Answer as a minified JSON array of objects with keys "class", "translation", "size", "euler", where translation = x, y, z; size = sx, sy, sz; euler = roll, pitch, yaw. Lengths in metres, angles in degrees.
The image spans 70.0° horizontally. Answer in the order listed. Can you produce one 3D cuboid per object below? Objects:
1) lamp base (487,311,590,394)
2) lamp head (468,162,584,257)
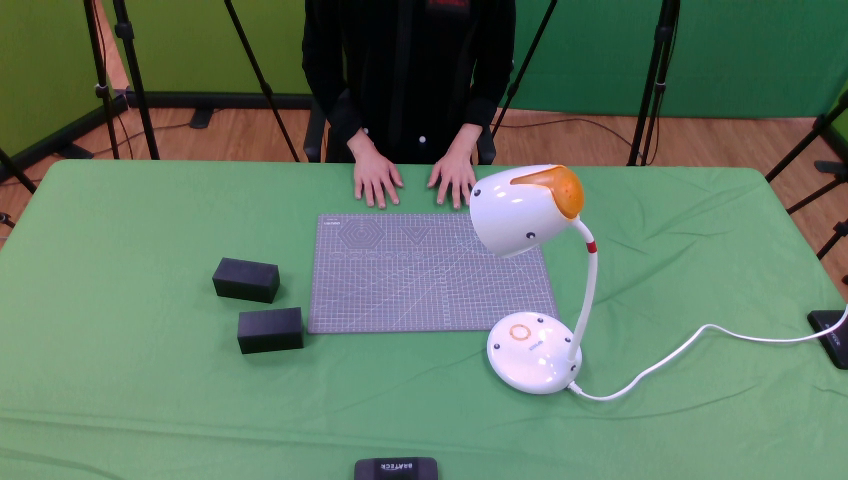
[{"class":"lamp base","translation":[0.199,0.142,0.962],"size":[0.178,0.181,0.160],"euler":[38,56,24]},{"class":"lamp head","translation":[0.135,-0.043,0.747],"size":[0.122,0.113,0.112],"euler":[-15,30,42]}]
